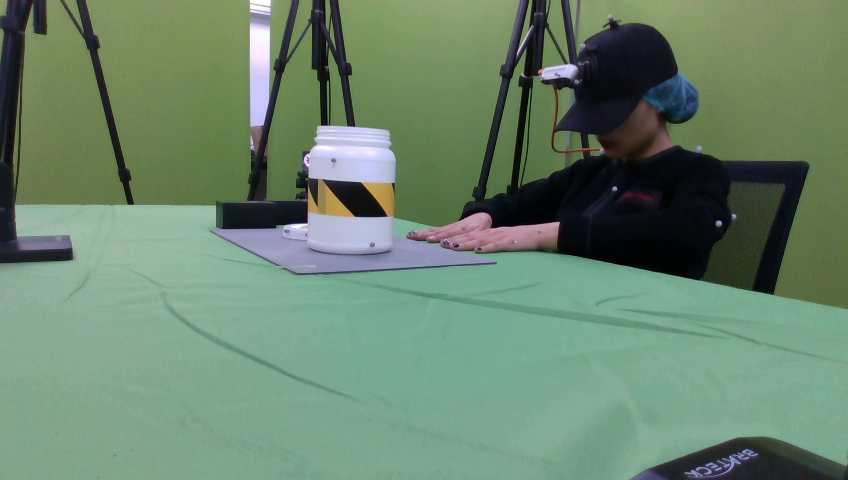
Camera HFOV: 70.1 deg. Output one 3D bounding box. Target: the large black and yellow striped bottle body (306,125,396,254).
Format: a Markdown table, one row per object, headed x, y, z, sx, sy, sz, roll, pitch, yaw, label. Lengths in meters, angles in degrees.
| x | y | z | sx | sy | sz | roll | pitch | yaw | label |
| --- | --- | --- | --- | --- | --- | --- | --- | --- | --- |
| -0.109 | -0.077 | 0.913 | 0.131 | 0.184 | 0.130 | 3 | 8 | 0 | large black and yellow striped bottle body |

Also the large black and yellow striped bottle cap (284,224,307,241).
| x | y | z | sx | sy | sz | roll | pitch | yaw | label |
| --- | --- | --- | --- | --- | --- | --- | --- | --- | --- |
| -0.186 | -0.014 | 1.055 | 0.115 | 0.019 | 0.115 | 1 | 8 | 0 | large black and yellow striped bottle cap |
